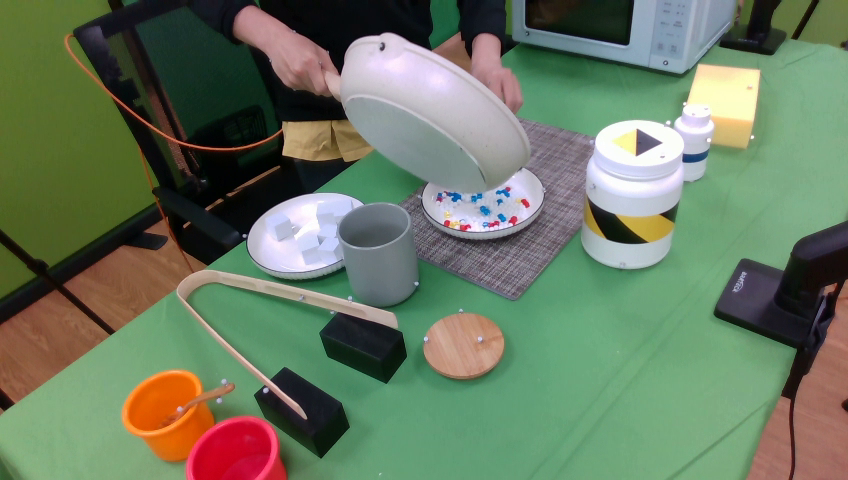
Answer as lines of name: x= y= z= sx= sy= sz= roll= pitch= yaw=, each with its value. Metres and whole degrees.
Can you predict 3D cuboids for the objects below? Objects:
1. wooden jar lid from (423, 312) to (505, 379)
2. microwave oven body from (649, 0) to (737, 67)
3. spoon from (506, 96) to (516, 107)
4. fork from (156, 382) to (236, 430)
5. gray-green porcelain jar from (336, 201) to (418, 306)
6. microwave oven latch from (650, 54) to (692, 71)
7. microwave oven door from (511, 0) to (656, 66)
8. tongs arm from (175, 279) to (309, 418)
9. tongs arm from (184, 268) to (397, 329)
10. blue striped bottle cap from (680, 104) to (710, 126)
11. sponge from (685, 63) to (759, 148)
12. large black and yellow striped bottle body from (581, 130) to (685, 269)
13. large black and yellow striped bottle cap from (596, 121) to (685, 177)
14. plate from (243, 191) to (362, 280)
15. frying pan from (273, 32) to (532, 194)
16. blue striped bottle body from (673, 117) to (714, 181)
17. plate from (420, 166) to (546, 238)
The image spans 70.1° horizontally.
wooden jar lid: x=0.053 y=0.142 z=0.800 sx=0.108 sy=0.021 sz=0.108 roll=-5 pitch=39 yaw=4
microwave oven body: x=0.475 y=-0.602 z=1.411 sx=0.438 sy=0.261 sz=0.327 roll=23 pitch=50 yaw=32
spoon: x=0.121 y=-0.200 z=0.993 sx=0.041 sy=0.021 sz=0.194 roll=29 pitch=37 yaw=3
fork: x=-0.262 y=0.189 z=0.690 sx=0.018 sy=0.206 sz=0.028 roll=49 pitch=43 yaw=-7
gray-green porcelain jar: x=-0.064 y=0.024 z=0.872 sx=0.106 sy=0.127 sz=0.105 roll=-4 pitch=41 yaw=4
microwave oven latch: x=0.531 y=-0.386 z=1.301 sx=0.078 sy=0.029 sz=0.030 roll=24 pitch=50 yaw=32
microwave oven door: x=0.351 y=-0.540 z=1.349 sx=0.353 sy=0.245 sz=0.039 roll=24 pitch=50 yaw=31
tongs arm: x=-0.255 y=0.132 z=0.800 sx=0.028 sy=0.028 sz=0.384 roll=-41 pitch=40 yaw=-23
tongs arm: x=-0.202 y=0.084 z=0.847 sx=0.382 sy=0.027 sz=0.051 roll=11 pitch=44 yaw=34
blue striped bottle cap: x=0.443 y=-0.205 z=0.989 sx=0.044 sy=0.021 sz=0.044 roll=-1 pitch=41 yaw=2
sponge: x=0.569 y=-0.263 z=1.164 sx=0.117 sy=0.061 sz=0.207 roll=12 pitch=45 yaw=22
large black and yellow striped bottle body: x=0.301 y=-0.064 z=0.878 sx=0.131 sy=0.185 sz=0.130 roll=-4 pitch=41 yaw=4
large black and yellow striped bottle cap: x=0.293 y=-0.126 z=0.821 sx=0.115 sy=0.019 sz=0.114 roll=-5 pitch=40 yaw=5
plate: x=-0.187 y=-0.005 z=0.992 sx=0.207 sy=0.039 sz=0.206 roll=-4 pitch=41 yaw=4
frying pan: x=-0.069 y=-0.202 z=0.891 sx=0.484 sy=0.309 sz=0.103 roll=32 pitch=80 yaw=33
blue striped bottle body: x=0.449 y=-0.165 z=1.022 sx=0.063 sy=0.121 sz=0.063 roll=-5 pitch=41 yaw=4
plate: x=0.100 y=-0.068 z=1.017 sx=0.209 sy=0.038 sz=0.208 roll=-4 pitch=40 yaw=4
